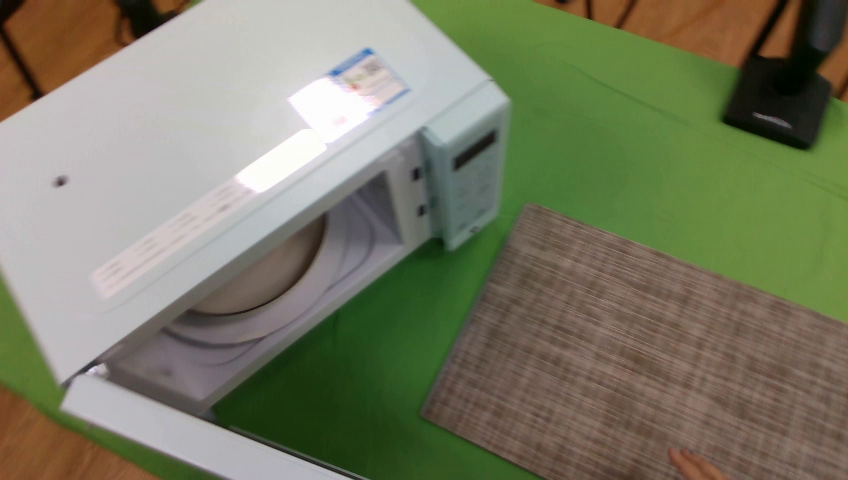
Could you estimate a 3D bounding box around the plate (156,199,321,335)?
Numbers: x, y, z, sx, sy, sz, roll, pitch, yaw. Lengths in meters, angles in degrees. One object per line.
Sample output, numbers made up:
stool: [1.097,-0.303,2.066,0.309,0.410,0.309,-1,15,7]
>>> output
plate: [-0.210,0.013,0.677,0.209,0.038,0.207,-6,59,10]

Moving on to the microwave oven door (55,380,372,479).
microwave oven door: [-0.102,0.210,0.534,0.355,0.245,0.039,16,68,11]

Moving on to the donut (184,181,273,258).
donut: [-0.226,-0.023,0.702,0.099,0.048,0.098,8,59,-13]

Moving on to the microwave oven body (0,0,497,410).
microwave oven body: [-0.191,-0.062,0.665,0.441,0.262,0.323,-39,70,-12]

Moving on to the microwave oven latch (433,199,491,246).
microwave oven latch: [0.047,-0.028,0.741,0.079,0.030,0.030,-39,70,-12]
